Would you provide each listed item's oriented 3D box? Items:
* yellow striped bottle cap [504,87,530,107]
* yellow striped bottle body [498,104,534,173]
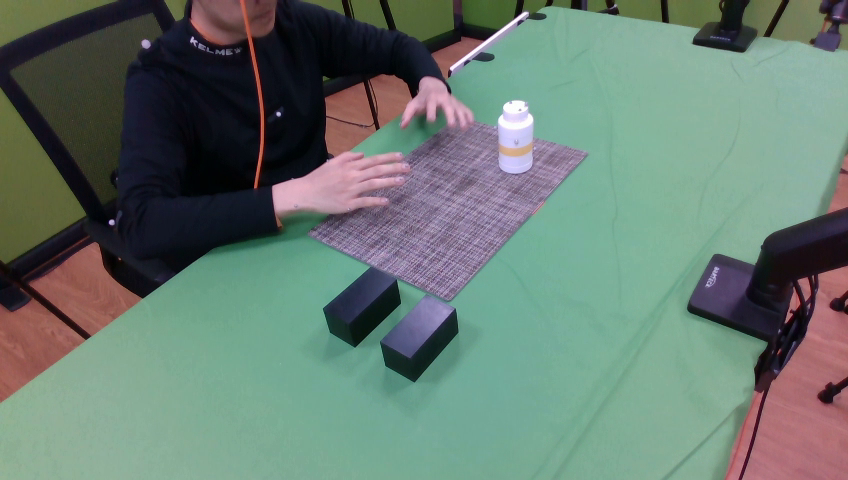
[{"bbox_3d":[0.159,-0.244,1.033,0.044,0.019,0.044,-7,34,5],"label":"yellow striped bottle cap"},{"bbox_3d":[0.164,-0.186,1.078,0.063,0.121,0.062,-4,41,4],"label":"yellow striped bottle body"}]
